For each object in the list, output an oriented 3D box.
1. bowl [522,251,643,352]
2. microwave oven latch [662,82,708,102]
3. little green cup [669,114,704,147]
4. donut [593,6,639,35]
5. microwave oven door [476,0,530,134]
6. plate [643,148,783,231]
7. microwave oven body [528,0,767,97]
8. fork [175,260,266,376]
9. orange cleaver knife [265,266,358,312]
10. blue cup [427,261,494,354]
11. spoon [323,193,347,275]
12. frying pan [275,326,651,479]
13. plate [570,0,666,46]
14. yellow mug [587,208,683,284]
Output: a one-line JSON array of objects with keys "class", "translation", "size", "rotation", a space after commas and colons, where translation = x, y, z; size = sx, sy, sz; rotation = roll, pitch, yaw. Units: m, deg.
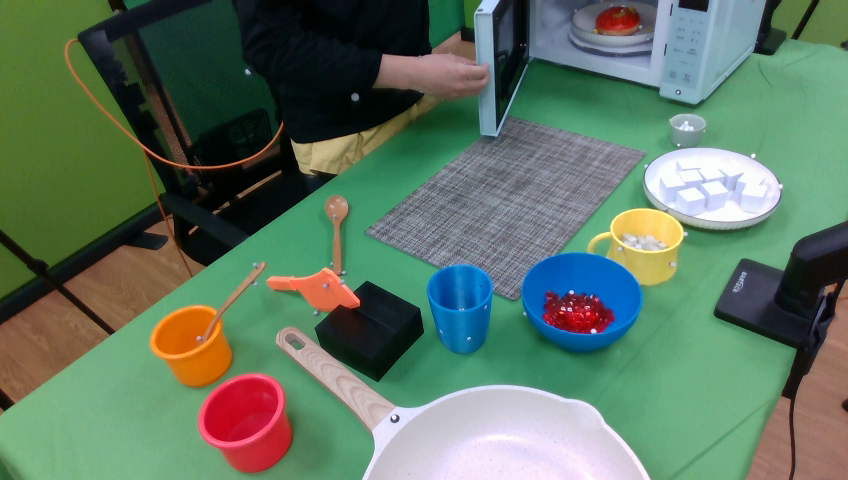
[{"class": "bowl", "translation": [0.204, 0.093, 0.792], "size": [0.151, 0.077, 0.150], "rotation": [-4, 40, 4]}, {"class": "microwave oven latch", "translation": [0.518, -0.298, 1.202], "size": [0.078, 0.029, 0.030], "rotation": [28, 52, 35]}, {"class": "little green cup", "translation": [0.485, -0.203, 1.123], "size": [0.061, 0.039, 0.061], "rotation": [-5, 40, 5]}, {"class": "donut", "translation": [0.428, -0.490, 1.349], "size": [0.099, 0.048, 0.098], "rotation": [-6, 40, 5]}, {"class": "microwave oven door", "translation": [0.167, -0.412, 1.229], "size": [0.039, 0.245, 0.355], "rotation": [8, 43, 16]}, {"class": "plate", "translation": [0.464, -0.080, 0.986], "size": [0.207, 0.039, 0.206], "rotation": [-4, 41, 4]}, {"class": "microwave oven body", "translation": [0.473, -0.516, 1.313], "size": [0.438, 0.261, 0.327], "rotation": [26, 51, 34]}, {"class": "fork", "translation": [-0.268, 0.103, 0.792], "size": [0.207, 0.019, 0.028], "rotation": [-51, 41, 16]}, {"class": "orange cleaver knife", "translation": [-0.164, 0.073, 0.864], "size": [0.210, 0.077, 0.012], "rotation": [-6, 30, 50]}, {"class": "blue cup", "translation": [0.050, 0.095, 0.791], "size": [0.092, 0.100, 0.092], "rotation": [-3, 42, 3]}, {"class": "spoon", "translation": [-0.148, -0.014, 1.008], "size": [0.042, 0.022, 0.192], "rotation": [1, 40, -9]}, {"class": "frying pan", "translation": [0.004, 0.229, 0.641], "size": [0.484, 0.103, 0.308], "rotation": [34, 54, 28]}, {"class": "plate", "translation": [0.436, -0.487, 1.368], "size": [0.209, 0.038, 0.208], "rotation": [-4, 41, 4]}, {"class": "yellow mug", "translation": [0.305, 0.009, 0.884], "size": [0.131, 0.064, 0.099], "rotation": [-4, 41, 5]}]
